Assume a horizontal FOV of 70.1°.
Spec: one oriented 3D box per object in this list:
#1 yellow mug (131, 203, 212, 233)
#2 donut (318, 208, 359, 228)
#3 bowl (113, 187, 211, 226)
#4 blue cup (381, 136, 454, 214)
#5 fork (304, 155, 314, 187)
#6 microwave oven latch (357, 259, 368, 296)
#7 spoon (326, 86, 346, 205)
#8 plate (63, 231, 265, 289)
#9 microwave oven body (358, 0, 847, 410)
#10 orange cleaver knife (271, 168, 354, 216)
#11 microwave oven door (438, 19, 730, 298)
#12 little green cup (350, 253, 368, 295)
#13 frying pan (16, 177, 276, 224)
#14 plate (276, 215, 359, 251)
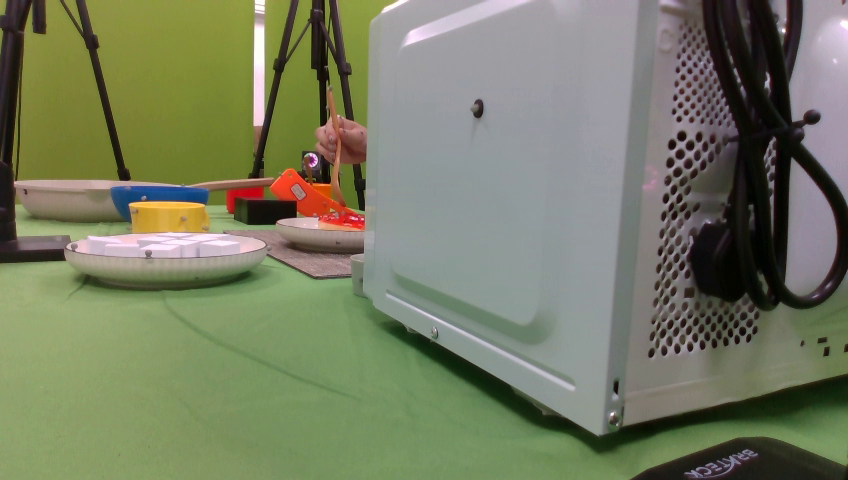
[{"bbox_3d":[-0.356,-0.020,0.878,0.099,0.064,0.131,4,7,22],"label":"yellow mug"},{"bbox_3d":[-0.118,-0.024,0.954,0.099,0.048,0.099,5,7,0],"label":"donut"},{"bbox_3d":[-0.437,-0.046,1.013,0.151,0.077,0.151,2,7,0],"label":"bowl"},{"bbox_3d":[-0.005,-0.098,0.954,0.093,0.100,0.092,-36,-8,-5],"label":"blue cup"},{"bbox_3d":[-0.268,-0.134,1.446,0.028,0.018,0.207,1,-36,-1],"label":"fork"},{"bbox_3d":[-0.019,0.031,0.528,0.079,0.029,0.030,-1,7,-25],"label":"microwave oven latch"},{"bbox_3d":[-0.139,-0.150,0.953,0.022,0.193,0.041,-3,-8,-9],"label":"spoon"},{"bbox_3d":[-0.288,0.021,0.687,0.208,0.039,0.207,2,8,0],"label":"plate"},{"bbox_3d":[0.210,-0.051,0.471,0.444,0.260,0.324,-1,7,-28],"label":"microwave oven body"},{"bbox_3d":[-0.237,-0.084,1.332,0.212,0.077,0.012,31,-9,-31],"label":"orange cleaver knife"},{"bbox_3d":[0.181,-0.076,0.618,0.358,0.243,0.039,-2,8,-28],"label":"microwave oven door"},{"bbox_3d":[-0.048,0.035,0.632,0.061,0.038,0.061,3,6,0],"label":"little green cup"},{"bbox_3d":[-0.554,-0.097,1.266,0.490,0.102,0.305,-10,13,-24],"label":"frying pan"},{"bbox_3d":[-0.126,-0.012,0.950,0.209,0.038,0.209,2,7,0],"label":"plate"}]
